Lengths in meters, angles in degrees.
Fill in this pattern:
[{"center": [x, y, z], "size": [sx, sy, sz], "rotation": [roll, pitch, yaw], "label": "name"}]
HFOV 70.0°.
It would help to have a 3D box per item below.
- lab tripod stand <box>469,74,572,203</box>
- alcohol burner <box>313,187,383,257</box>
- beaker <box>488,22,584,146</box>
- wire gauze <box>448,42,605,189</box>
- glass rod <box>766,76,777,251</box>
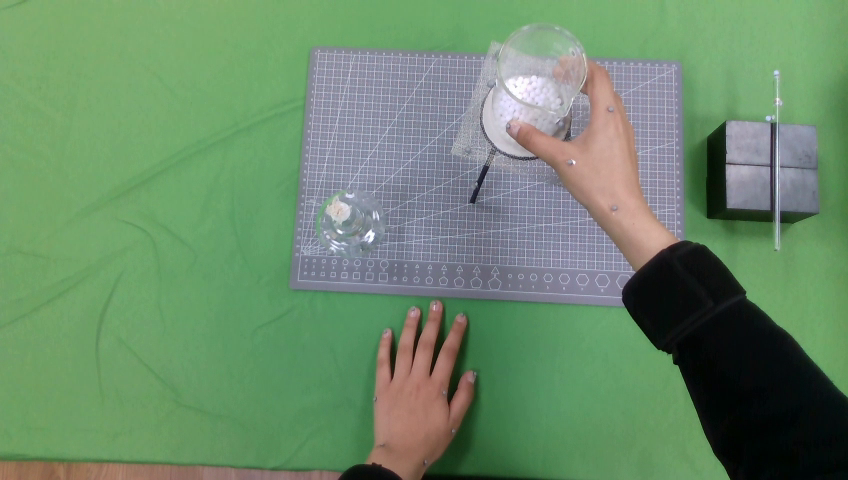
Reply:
[{"center": [0.097, -0.111, 0.652], "size": [0.148, 0.132, 0.148], "rotation": [0, 79, 3], "label": "lab tripod stand"}, {"center": [-0.084, -0.023, 0.649], "size": [0.078, 0.119, 0.077], "rotation": [0, 81, 1], "label": "alcohol burner"}, {"center": [0.096, -0.130, 0.539], "size": [0.074, 0.100, 0.083], "rotation": [-24, 80, -3], "label": "beaker"}, {"center": [0.101, -0.121, 0.587], "size": [0.121, 0.011, 0.124], "rotation": [20, 79, 4], "label": "wire gauze"}, {"center": [0.379, -0.086, 0.661], "size": [0.008, 0.008, 0.199], "rotation": [6, 81, 2], "label": "glass rod"}]
